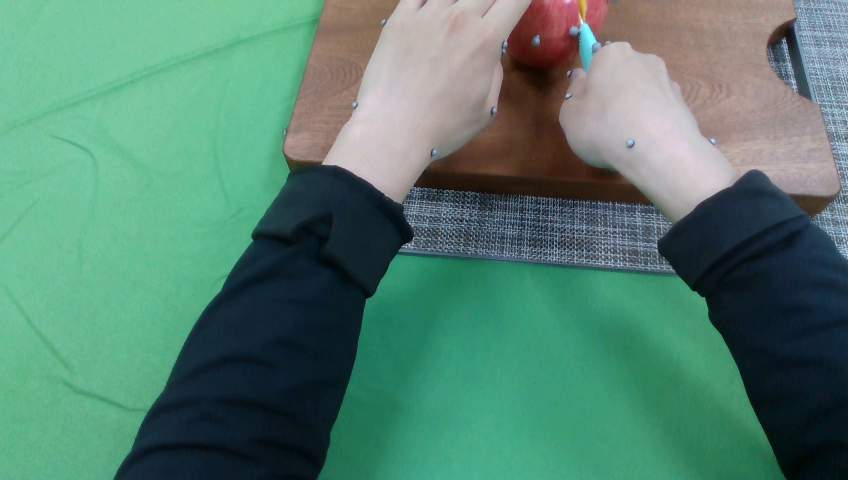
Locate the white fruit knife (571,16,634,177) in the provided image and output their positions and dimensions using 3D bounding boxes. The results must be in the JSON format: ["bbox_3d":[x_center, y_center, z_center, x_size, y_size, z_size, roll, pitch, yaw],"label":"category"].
[{"bbox_3d":[0.111,-0.140,0.436,0.016,0.027,0.205,-12,67,-1],"label":"white fruit knife"}]

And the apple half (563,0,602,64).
[{"bbox_3d":[0.118,-0.178,0.467,0.033,0.082,0.080,-10,60,-6],"label":"apple half"}]

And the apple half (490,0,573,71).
[{"bbox_3d":[0.078,-0.170,0.465,0.053,0.075,0.080,-12,64,1],"label":"apple half"}]
